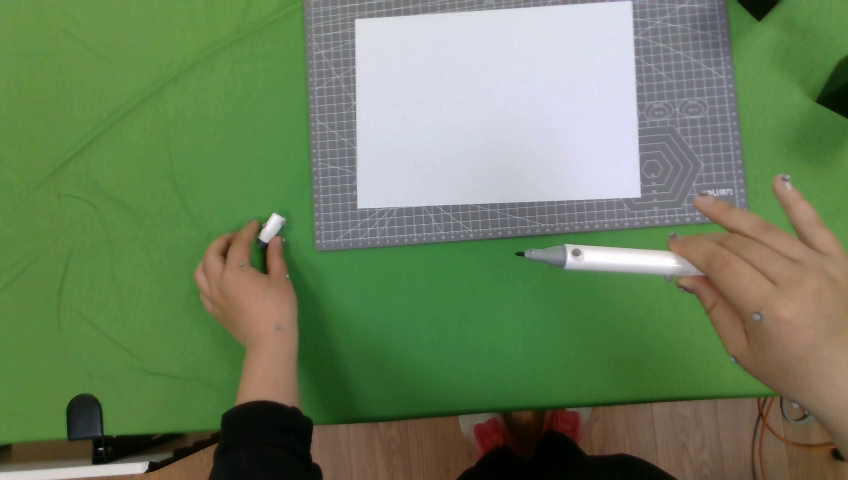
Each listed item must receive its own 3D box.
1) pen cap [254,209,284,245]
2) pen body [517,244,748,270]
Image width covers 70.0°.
[{"bbox_3d":[-0.168,-0.013,0.655,0.017,0.017,0.038,35,92,7],"label":"pen cap"},{"bbox_3d":[0.130,0.011,0.382,0.144,0.017,0.017,0,85,-3],"label":"pen body"}]
